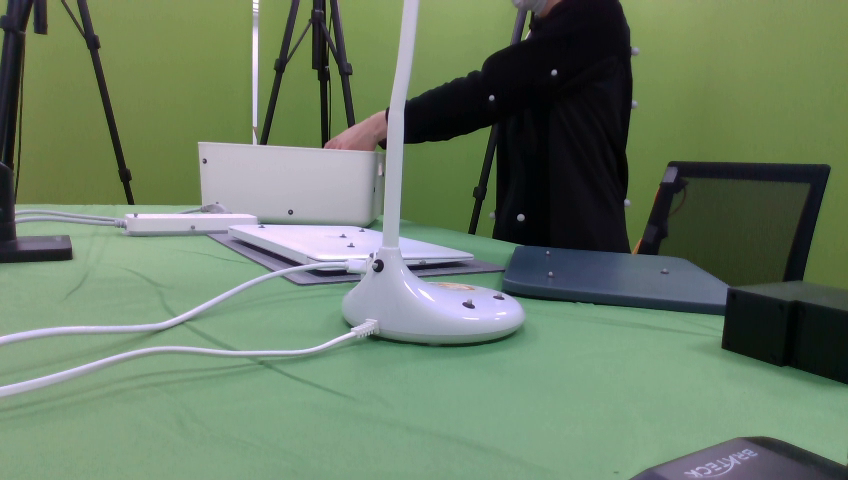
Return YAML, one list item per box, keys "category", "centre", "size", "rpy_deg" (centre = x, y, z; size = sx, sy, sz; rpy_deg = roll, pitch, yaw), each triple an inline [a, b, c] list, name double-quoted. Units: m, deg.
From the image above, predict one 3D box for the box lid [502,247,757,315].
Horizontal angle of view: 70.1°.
- category: "box lid"
  centre: [0.244, 0.044, 0.793]
  size: [0.263, 0.015, 0.372]
  rpy_deg: [4, 7, 10]

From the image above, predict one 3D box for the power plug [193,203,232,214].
- category: "power plug"
  centre: [-0.393, -0.042, 1.139]
  size: [0.072, 0.052, 0.035]
  rpy_deg: [-14, 2, 31]

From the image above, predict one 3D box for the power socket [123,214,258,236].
- category: "power socket"
  centre: [-0.398, -0.028, 1.049]
  size: [0.228, 0.032, 0.072]
  rpy_deg: [-3, 8, -34]

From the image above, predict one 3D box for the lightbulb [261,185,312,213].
- category: "lightbulb"
  centre: [-0.292, -0.083, 1.291]
  size: [0.108, 0.059, 0.059]
  rpy_deg: [-14, 13, -19]

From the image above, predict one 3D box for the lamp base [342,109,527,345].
- category: "lamp base"
  centre: [0.006, -0.015, 0.505]
  size: [0.160, 0.180, 0.180]
  rpy_deg: [6, 11, 29]

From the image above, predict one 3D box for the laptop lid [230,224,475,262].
- category: "laptop lid"
  centre: [-0.120, 0.000, 0.889]
  size: [0.243, 0.013, 0.355]
  rpy_deg: [1, 7, -33]

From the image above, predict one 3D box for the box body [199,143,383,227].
- category: "box body"
  centre: [-0.276, -0.124, 1.335]
  size: [0.364, 0.160, 0.254]
  rpy_deg: [3, 7, 1]

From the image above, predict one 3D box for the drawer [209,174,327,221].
- category: "drawer"
  centre: [-0.333, -0.099, 1.326]
  size: [0.212, 0.073, 0.194]
  rpy_deg: [8, 10, 0]

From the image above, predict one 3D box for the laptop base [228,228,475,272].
- category: "laptop base"
  centre: [-0.122, 0.011, 0.889]
  size: [0.237, 0.023, 0.352]
  rpy_deg: [2, 6, -35]

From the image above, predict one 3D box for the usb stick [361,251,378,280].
- category: "usb stick"
  centre: [-0.051, 0.033, 0.656]
  size: [0.027, 0.021, 0.059]
  rpy_deg: [5, -27, -21]

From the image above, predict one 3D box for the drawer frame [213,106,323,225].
- category: "drawer frame"
  centre: [-0.316, -0.142, 1.308]
  size: [0.082, 0.213, 0.202]
  rpy_deg: [22, -17, 31]

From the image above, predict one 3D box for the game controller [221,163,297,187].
- category: "game controller"
  centre: [-0.362, -0.141, 1.315]
  size: [0.156, 0.051, 0.096]
  rpy_deg: [-1, 5, -23]
